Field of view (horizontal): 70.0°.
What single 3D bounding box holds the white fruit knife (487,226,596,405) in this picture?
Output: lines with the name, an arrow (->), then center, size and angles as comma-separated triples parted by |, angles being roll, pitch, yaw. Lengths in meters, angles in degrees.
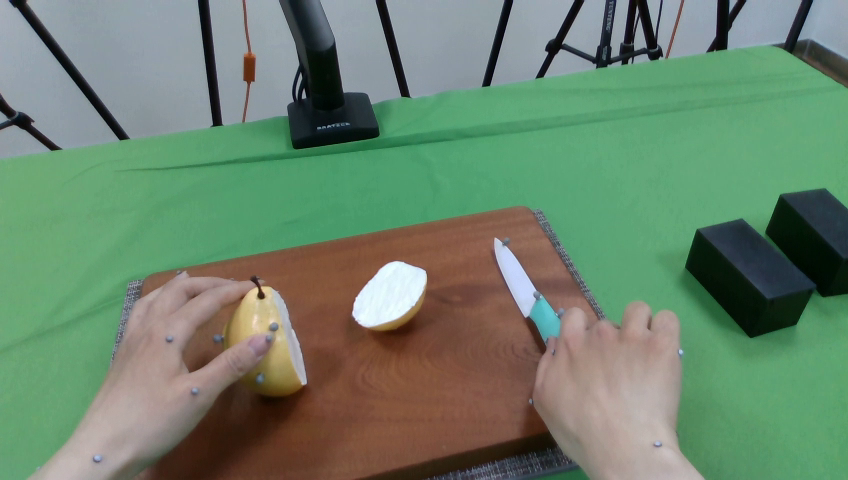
white fruit knife -> 0.095, 0.052, 0.527 | 0.027, 0.016, 0.205 | -43, 41, 17

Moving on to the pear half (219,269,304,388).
pear half -> -0.130, 0.065, 0.460 | 0.056, 0.111, 0.075 | -17, 39, -14

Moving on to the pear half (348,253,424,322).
pear half -> -0.029, 0.046, 0.533 | 0.070, 0.031, 0.087 | -14, 27, 10
